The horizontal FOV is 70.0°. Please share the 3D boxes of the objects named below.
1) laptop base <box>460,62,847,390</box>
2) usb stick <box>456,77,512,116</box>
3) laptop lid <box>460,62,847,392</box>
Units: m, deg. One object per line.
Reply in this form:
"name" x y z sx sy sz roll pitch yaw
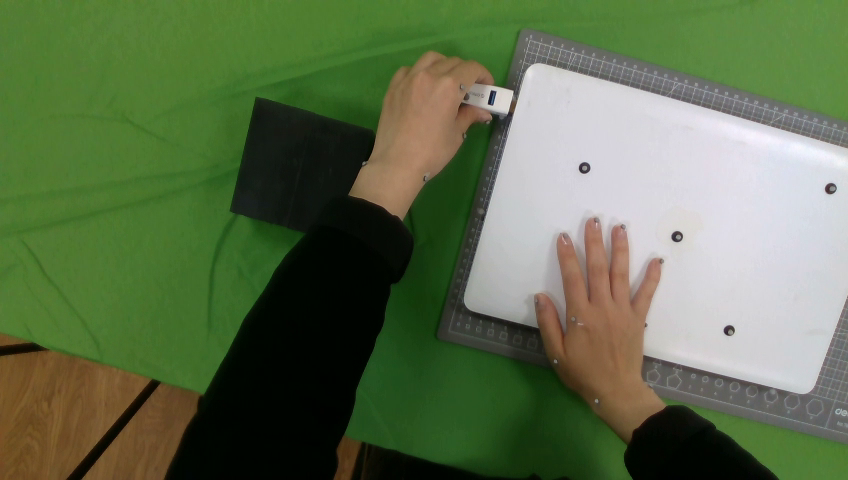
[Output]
"laptop base" 0.230 -0.008 0.572 0.355 0.023 0.236 14 99 -4
"usb stick" 0.059 -0.126 0.541 0.059 0.027 0.021 14 92 -3
"laptop lid" 0.229 -0.004 0.561 0.357 0.013 0.242 16 98 -3
